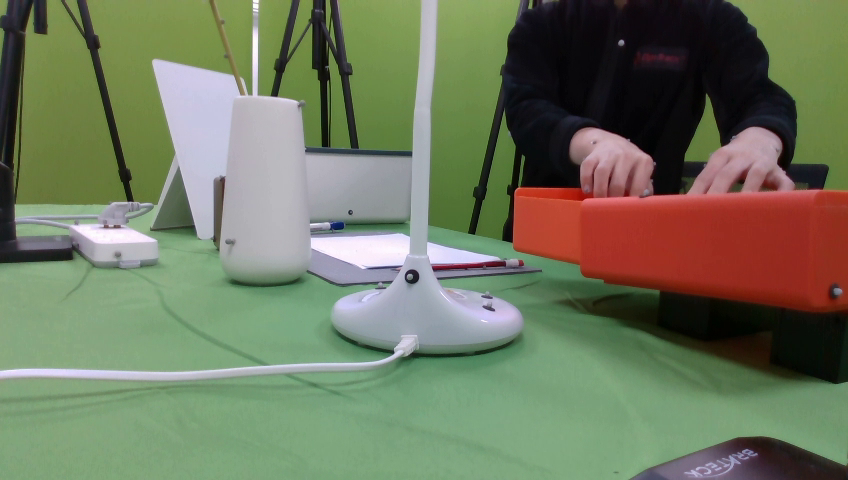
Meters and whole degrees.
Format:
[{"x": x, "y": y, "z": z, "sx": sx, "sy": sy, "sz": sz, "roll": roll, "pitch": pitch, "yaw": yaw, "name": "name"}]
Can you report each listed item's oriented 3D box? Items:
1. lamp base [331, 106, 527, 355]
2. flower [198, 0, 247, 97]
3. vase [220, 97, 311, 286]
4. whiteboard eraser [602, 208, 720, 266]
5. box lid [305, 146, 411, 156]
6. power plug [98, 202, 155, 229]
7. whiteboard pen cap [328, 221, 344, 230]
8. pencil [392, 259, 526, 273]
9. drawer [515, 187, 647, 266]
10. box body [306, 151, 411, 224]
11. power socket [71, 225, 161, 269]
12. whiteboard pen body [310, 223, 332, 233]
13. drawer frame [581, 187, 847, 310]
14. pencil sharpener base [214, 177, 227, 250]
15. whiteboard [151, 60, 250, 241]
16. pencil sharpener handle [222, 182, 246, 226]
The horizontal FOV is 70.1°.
[{"x": 0.006, "y": -0.012, "z": 0.478, "sx": 0.161, "sy": 0.180, "sz": 0.179, "roll": 2, "pitch": 10, "yaw": 2, "name": "lamp base"}, {"x": -0.187, "y": -0.133, "z": 0.648, "sx": 0.038, "sy": 0.362, "sz": 0.044, "roll": -1, "pitch": 22, "yaw": 43, "name": "flower"}, {"x": -0.172, "y": -0.052, "z": 0.662, "sx": 0.098, "sy": 0.200, "sz": 0.098, "roll": 3, "pitch": 8, "yaw": 0, "name": "vase"}, {"x": 0.250, "y": -0.004, "z": 0.645, "sx": 0.056, "sy": 0.042, "sz": 0.112, "roll": -13, "pitch": 22, "yaw": -29, "name": "whiteboard eraser"}, {"x": -0.229, "y": -0.200, "z": 1.360, "sx": 0.373, "sy": 0.015, "sz": 0.262, "roll": -3, "pitch": 9, "yaw": -33, "name": "box lid"}, {"x": -0.416, "y": -0.027, "z": 0.848, "sx": 0.073, "sy": 0.052, "sz": 0.035, "roll": 0, "pitch": 8, "yaw": -28, "name": "power plug"}, {"x": -0.166, "y": -0.027, "z": 1.124, "sx": 0.018, "sy": 0.018, "sz": 0.033, "roll": 9, "pitch": 11, "yaw": 41, "name": "whiteboard pen cap"}, {"x": 0.049, "y": 0.035, "z": 0.782, "sx": 0.195, "sy": 0.012, "sz": 0.012, "roll": -3, "pitch": 9, "yaw": -25, "name": "pencil"}, {"x": 0.229, "y": -0.011, "z": 0.604, "sx": 0.195, "sy": 0.073, "sz": 0.210, "roll": -1, "pitch": 8, "yaw": -28, "name": "drawer"}, {"x": -0.230, "y": -0.126, "z": 1.371, "sx": 0.366, "sy": 0.160, "sz": 0.253, "roll": -2, "pitch": 8, "yaw": -33, "name": "box body"}, {"x": -0.408, "y": 0.004, "z": 0.793, "sx": 0.072, "sy": 0.032, "sz": 0.225, "roll": -2, "pitch": 8, "yaw": -38, "name": "power socket"}, {"x": -0.207, "y": -0.021, "z": 1.081, "sx": 0.017, "sy": 0.017, "sz": 0.141, "roll": 9, "pitch": 10, "yaw": 41, "name": "whiteboard pen body"}, {"x": 0.280, "y": 0.000, "z": 0.511, "sx": 0.203, "sy": 0.082, "sz": 0.212, "roll": 0, "pitch": 3, "yaw": -28, "name": "drawer frame"}, {"x": -0.265, "y": -0.036, "z": 0.870, "sx": 0.061, "sy": 0.107, "sz": 0.076, "roll": -2, "pitch": 8, "yaw": -29, "name": "pencil sharpener base"}, {"x": -0.408, "y": -0.139, "z": 1.093, "sx": 0.143, "sy": 0.305, "sz": 0.218, "roll": -15, "pitch": 0, "yaw": 26, "name": "whiteboard"}, {"x": -0.289, "y": -0.055, "z": 0.912, "sx": 0.036, "sy": 0.067, "sz": 0.030, "roll": -3, "pitch": 9, "yaw": -29, "name": "pencil sharpener handle"}]
